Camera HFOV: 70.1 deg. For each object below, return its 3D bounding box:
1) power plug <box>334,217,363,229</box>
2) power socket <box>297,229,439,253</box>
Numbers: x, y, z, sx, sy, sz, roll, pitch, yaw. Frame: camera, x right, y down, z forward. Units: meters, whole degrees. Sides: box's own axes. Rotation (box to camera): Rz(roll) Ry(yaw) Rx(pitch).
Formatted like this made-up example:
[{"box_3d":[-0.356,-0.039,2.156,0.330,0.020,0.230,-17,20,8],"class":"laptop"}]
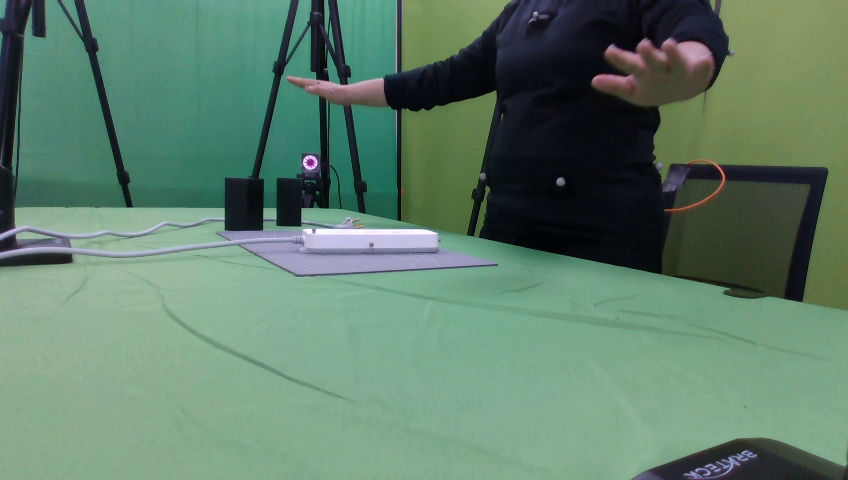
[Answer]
[{"box_3d":[-0.143,-0.031,1.129,0.053,0.035,0.072,-16,22,-9],"class":"power plug"},{"box_3d":[-0.084,0.000,0.942,0.228,0.032,0.072,0,7,-20],"class":"power socket"}]
